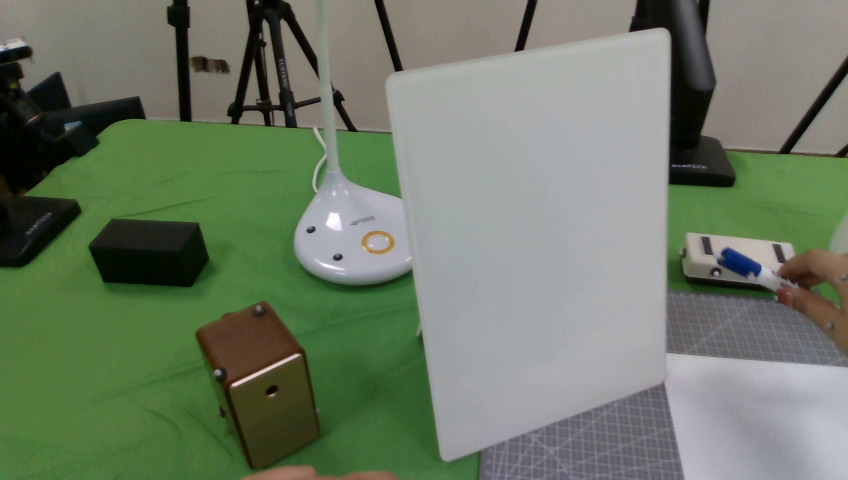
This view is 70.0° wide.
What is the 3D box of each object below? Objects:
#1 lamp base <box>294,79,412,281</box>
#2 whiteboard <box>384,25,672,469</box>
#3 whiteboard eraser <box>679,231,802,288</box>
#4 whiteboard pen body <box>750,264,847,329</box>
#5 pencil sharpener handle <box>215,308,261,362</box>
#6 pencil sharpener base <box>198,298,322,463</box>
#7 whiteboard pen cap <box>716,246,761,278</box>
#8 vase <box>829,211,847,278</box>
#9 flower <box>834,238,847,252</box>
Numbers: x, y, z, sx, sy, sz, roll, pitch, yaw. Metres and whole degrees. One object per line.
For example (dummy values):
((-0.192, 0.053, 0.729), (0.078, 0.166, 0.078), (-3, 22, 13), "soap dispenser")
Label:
((-0.079, -0.073, 0.663), (0.161, 0.182, 0.177), (-27, 43, -30), "lamp base")
((0.075, -0.006, 0.517), (0.218, 0.307, 0.142), (-14, 20, -15), "whiteboard")
((0.333, 0.023, 0.645), (0.112, 0.042, 0.055), (6, 36, 9), "whiteboard eraser")
((0.316, 0.046, 0.505), (0.141, 0.017, 0.017), (27, 42, 1), "whiteboard pen body")
((-0.158, 0.076, 0.511), (0.036, 0.068, 0.030), (-30, 46, -20), "pencil sharpener handle")
((-0.130, 0.111, 0.485), (0.061, 0.108, 0.076), (-24, 43, -26), "pencil sharpener base")
((0.263, 0.020, 0.507), (0.033, 0.018, 0.018), (27, 42, 1), "whiteboard pen cap")
((0.488, -0.043, 0.598), (0.098, 0.202, 0.097), (0, 38, 0), "vase")
((0.494, -0.098, 0.535), (0.044, 0.364, 0.038), (-10, 56, -21), "flower")
